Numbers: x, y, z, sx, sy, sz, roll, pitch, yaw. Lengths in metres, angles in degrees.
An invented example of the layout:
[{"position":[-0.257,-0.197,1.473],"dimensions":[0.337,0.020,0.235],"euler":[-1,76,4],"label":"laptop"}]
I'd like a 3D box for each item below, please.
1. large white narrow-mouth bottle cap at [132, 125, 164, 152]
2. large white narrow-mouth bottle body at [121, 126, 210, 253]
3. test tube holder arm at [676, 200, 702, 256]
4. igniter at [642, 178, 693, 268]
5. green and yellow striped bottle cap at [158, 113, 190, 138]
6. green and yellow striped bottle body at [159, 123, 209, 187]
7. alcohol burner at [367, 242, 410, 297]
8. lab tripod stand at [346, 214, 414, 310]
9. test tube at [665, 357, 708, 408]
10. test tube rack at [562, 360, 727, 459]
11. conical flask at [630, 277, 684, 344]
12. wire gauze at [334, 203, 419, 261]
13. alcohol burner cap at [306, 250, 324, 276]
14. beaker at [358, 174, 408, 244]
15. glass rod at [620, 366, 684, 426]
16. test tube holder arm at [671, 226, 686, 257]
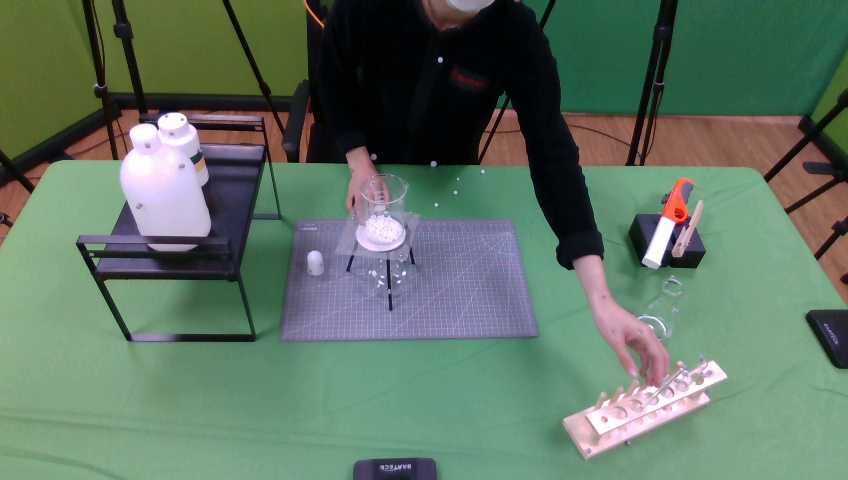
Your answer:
[{"position":[-0.371,-0.136,0.813],"dimensions":[0.038,0.024,0.037],"euler":[3,46,-3],"label":"large white narrow-mouth bottle cap"},{"position":[-0.378,-0.077,0.875],"dimensions":[0.102,0.195,0.101],"euler":[3,46,-3],"label":"large white narrow-mouth bottle body"},{"position":[0.522,-0.025,1.190],"dimensions":[0.013,0.015,0.178],"euler":[0,35,41],"label":"test tube holder arm"},{"position":[0.488,-0.042,1.205],"dimensions":[0.057,0.025,0.276],"euler":[30,51,11],"label":"igniter"},{"position":[-0.393,-0.179,0.951],"dimensions":[0.045,0.020,0.045],"euler":[2,44,-2],"label":"green and yellow striped bottle cap"},{"position":[-0.395,-0.145,0.989],"dimensions":[0.063,0.120,0.063],"euler":[2,46,-2],"label":"green and yellow striped bottle body"},{"position":[-0.064,0.047,1.080],"dimensions":[0.078,0.120,0.077],"euler":[1,47,-1],"label":"alcohol burner"},{"position":[-0.075,0.030,1.082],"dimensions":[0.148,0.132,0.147],"euler":[1,47,-1],"label":"lab tripod stand"},{"position":[0.387,0.216,0.905],"dimensions":[0.017,0.151,0.017],"euler":[1,52,-1],"label":"test tube"},{"position":[0.341,0.247,0.940],"dimensions":[0.243,0.085,0.066],"euler":[-16,49,-18],"label":"test tube rack"},{"position":[0.408,0.117,1.045],"dimensions":[0.075,0.122,0.075],"euler":[2,46,-2],"label":"conical flask"},{"position":[-0.079,-0.013,1.031],"dimensions":[0.121,0.011,0.124],"euler":[8,48,7],"label":"wire gauze"},{"position":[-0.204,0.040,1.125],"dimensions":[0.034,0.048,0.033],"euler":[2,46,-2],"label":"alcohol burner cap"},{"position":[-0.066,-0.050,1.001],"dimensions":[0.084,0.101,0.073],"euler":[-18,49,-20],"label":"beaker"},{"position":[0.322,0.227,0.866],"dimensions":[0.008,0.200,0.008],"euler":[6,51,-7],"label":"glass rod"},{"position":[0.494,0.001,1.166],"dimensions":[0.010,0.015,0.087],"euler":[0,36,42],"label":"test tube holder arm"}]
